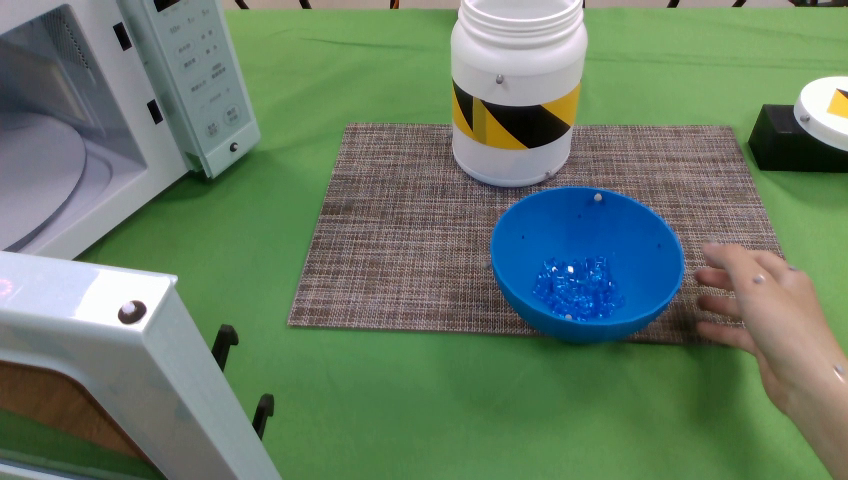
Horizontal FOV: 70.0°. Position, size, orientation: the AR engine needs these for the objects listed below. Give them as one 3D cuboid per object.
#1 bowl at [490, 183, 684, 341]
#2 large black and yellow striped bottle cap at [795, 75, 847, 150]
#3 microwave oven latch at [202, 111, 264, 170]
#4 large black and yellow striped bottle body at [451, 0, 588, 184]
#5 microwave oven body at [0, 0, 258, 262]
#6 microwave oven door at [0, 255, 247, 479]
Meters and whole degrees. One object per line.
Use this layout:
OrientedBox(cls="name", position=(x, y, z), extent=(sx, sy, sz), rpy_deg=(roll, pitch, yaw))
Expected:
OrientedBox(cls="bowl", position=(0.129, 0.031, 0.506), extent=(0.151, 0.077, 0.150), rpy_deg=(-2, 47, 2))
OrientedBox(cls="large black and yellow striped bottle cap", position=(0.442, -0.130, 0.614), extent=(0.115, 0.019, 0.114), rpy_deg=(-2, 46, 3))
OrientedBox(cls="microwave oven latch", position=(-0.213, -0.112, 0.668), extent=(0.030, 0.030, 0.079), rpy_deg=(26, 54, 24))
OrientedBox(cls="large black and yellow striped bottle body", position=(0.093, -0.164, 0.615), extent=(0.131, 0.186, 0.129), rpy_deg=(-2, 47, 2))
OrientedBox(cls="microwave oven body", position=(-0.438, -0.120, 0.556), extent=(0.324, 0.262, 0.440), rpy_deg=(24, 54, 23))
OrientedBox(cls="microwave oven door", position=(-0.265, 0.083, 0.350), extent=(0.355, 0.246, 0.039), rpy_deg=(7, 48, 10))
